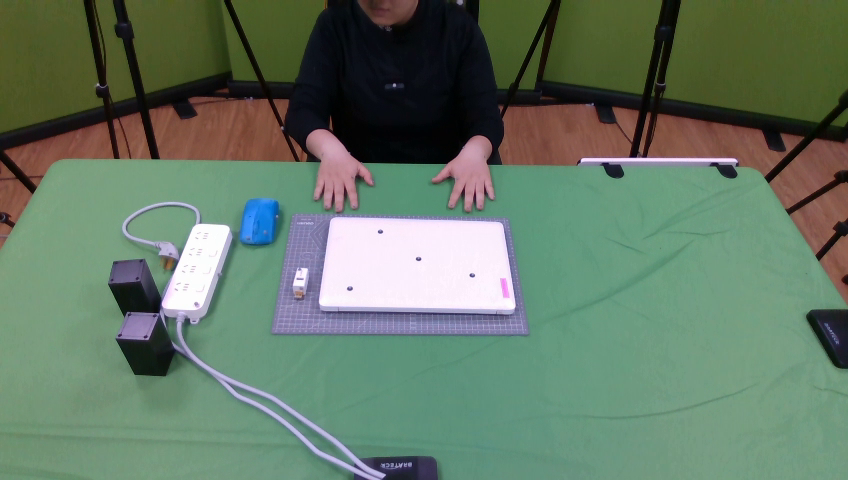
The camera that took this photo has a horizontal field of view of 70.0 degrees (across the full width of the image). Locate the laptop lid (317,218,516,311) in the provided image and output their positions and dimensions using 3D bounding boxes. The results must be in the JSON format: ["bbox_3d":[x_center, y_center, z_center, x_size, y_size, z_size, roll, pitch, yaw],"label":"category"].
[{"bbox_3d":[-0.013,0.040,1.143,0.357,0.013,0.240,3,43,-2],"label":"laptop lid"}]

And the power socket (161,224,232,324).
[{"bbox_3d":[-0.412,0.053,1.106,0.072,0.033,0.225,4,46,-1],"label":"power socket"}]

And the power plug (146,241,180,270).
[{"bbox_3d":[-0.488,0.030,1.130,0.072,0.035,0.052,-1,65,27],"label":"power plug"}]

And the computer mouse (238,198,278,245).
[{"bbox_3d":[-0.328,-0.040,1.200,0.063,0.041,0.116,4,50,-4],"label":"computer mouse"}]

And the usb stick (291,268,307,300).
[{"bbox_3d":[-0.227,0.081,1.094,0.021,0.027,0.059,5,48,-3],"label":"usb stick"}]

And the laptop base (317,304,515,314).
[{"bbox_3d":[-0.014,0.049,1.150,0.354,0.023,0.234,1,42,-3],"label":"laptop base"}]
